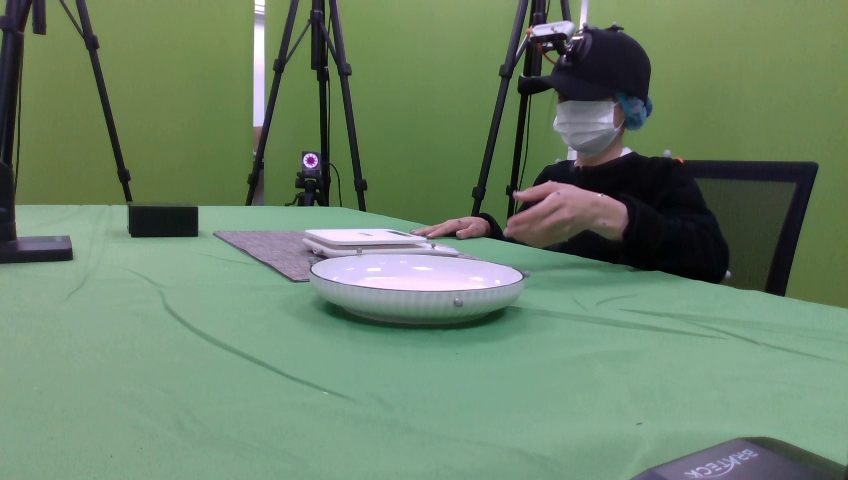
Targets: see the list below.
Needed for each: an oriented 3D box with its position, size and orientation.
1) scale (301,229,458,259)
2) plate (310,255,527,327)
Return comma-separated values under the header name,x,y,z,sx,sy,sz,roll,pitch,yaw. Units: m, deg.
name,x,y,z,sx,sy,sz,roll,pitch,yaw
scale,-0.065,0.007,0.878,0.202,0.031,0.148,0,8,-29
plate,-0.006,0.047,0.587,0.208,0.039,0.207,3,7,0
